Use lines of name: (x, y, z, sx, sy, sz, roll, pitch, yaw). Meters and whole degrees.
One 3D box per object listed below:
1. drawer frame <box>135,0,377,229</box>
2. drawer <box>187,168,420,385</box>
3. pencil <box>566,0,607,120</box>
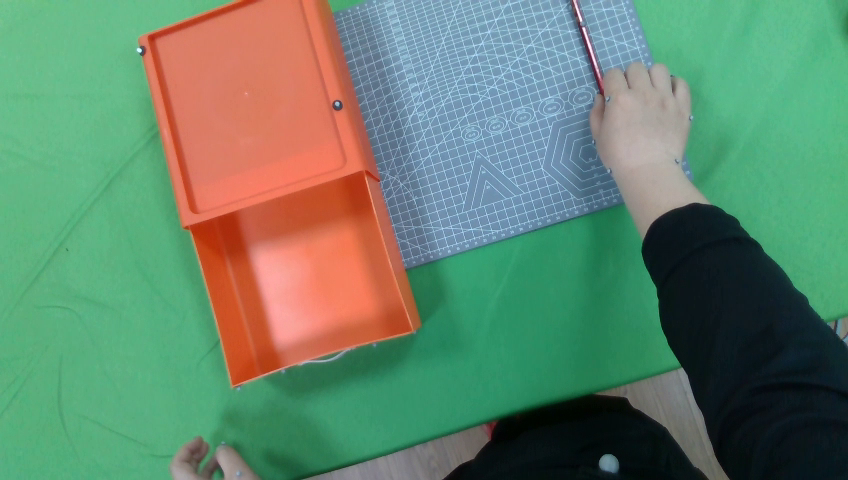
drawer frame: (-0.177, -0.135, 0.643, 0.201, 0.083, 0.213, -18, 83, 7)
drawer: (-0.128, 0.021, 0.631, 0.194, 0.073, 0.211, -18, 86, 8)
pencil: (0.164, -0.218, 0.637, 0.012, 0.012, 0.193, -16, 86, 7)
